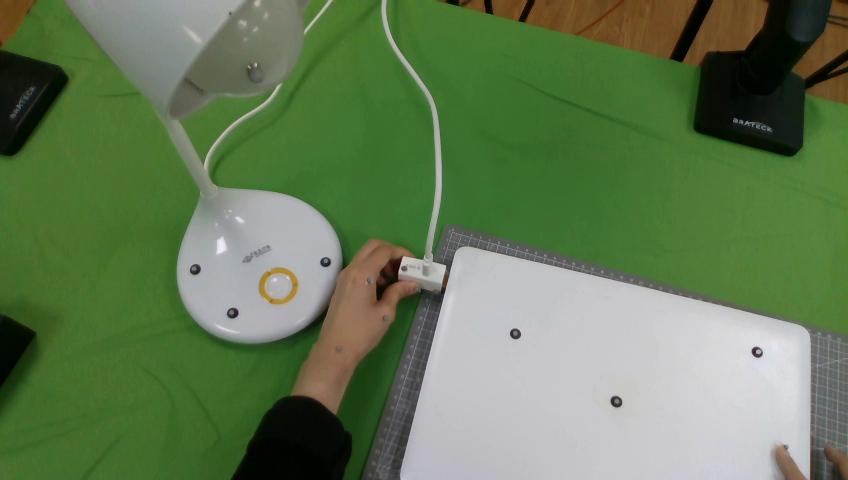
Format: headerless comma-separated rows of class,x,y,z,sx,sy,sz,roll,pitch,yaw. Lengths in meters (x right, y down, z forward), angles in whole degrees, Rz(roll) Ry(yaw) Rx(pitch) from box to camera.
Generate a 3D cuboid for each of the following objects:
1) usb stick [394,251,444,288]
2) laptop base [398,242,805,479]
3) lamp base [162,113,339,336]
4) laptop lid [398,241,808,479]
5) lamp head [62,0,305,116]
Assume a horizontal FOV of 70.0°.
usb stick,0.001,0.031,0.596,0.059,0.027,0.021,14,58,1
laptop base,0.172,0.146,0.566,0.354,0.023,0.234,13,69,3
lamp base,-0.172,-0.021,0.538,0.178,0.181,0.160,42,70,18
laptop lid,0.172,0.143,0.554,0.356,0.013,0.240,15,69,4
lamp head,-0.115,-0.131,0.257,0.123,0.112,0.112,42,69,-10
